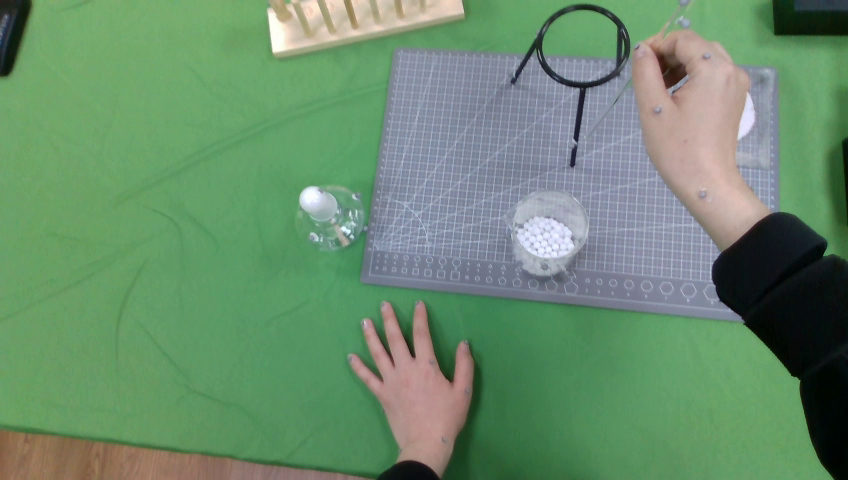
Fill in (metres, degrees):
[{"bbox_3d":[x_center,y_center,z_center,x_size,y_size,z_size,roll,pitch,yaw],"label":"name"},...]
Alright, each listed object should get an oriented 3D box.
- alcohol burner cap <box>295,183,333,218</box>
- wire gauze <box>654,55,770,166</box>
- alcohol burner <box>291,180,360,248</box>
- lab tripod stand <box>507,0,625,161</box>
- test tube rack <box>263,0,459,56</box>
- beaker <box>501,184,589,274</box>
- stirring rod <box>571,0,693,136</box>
[{"bbox_3d":[-0.115,-0.042,0.620,0.034,0.048,0.033,-1,80,5],"label":"alcohol burner cap"},{"bbox_3d":[0.327,-0.151,0.689,0.125,0.011,0.121,10,78,5],"label":"wire gauze"},{"bbox_3d":[-0.110,-0.033,0.655,0.078,0.120,0.077,-1,75,5],"label":"alcohol burner"},{"bbox_3d":[0.157,-0.176,0.647,0.148,0.132,0.147,-1,78,4],"label":"lab tripod stand"},{"bbox_3d":[-0.084,-0.297,0.727,0.242,0.085,0.066,-11,76,3],"label":"test tube rack"},{"bbox_3d":[0.121,-0.007,0.630,0.084,0.101,0.073,11,77,9],"label":"beaker"},{"bbox_3d":[0.151,-0.130,0.438,0.014,0.177,0.006,33,60,2],"label":"stirring rod"}]
